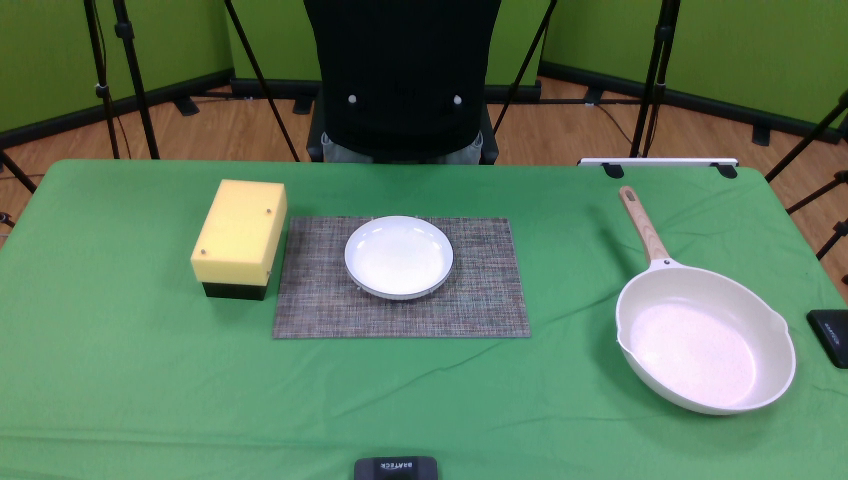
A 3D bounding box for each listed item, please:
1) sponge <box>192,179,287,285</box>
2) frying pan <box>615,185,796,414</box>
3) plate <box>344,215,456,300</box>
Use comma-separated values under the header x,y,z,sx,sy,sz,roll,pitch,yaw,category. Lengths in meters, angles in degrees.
x,y,z,sx,sy,sz,roll,pitch,yaw,category
-0.327,-0.018,1.096,0.118,0.061,0.205,3,46,-1,sponge
0.449,0.087,1.092,0.307,0.103,0.484,-4,55,-10,frying pan
-0.045,0.035,1.146,0.208,0.039,0.206,2,46,-2,plate
